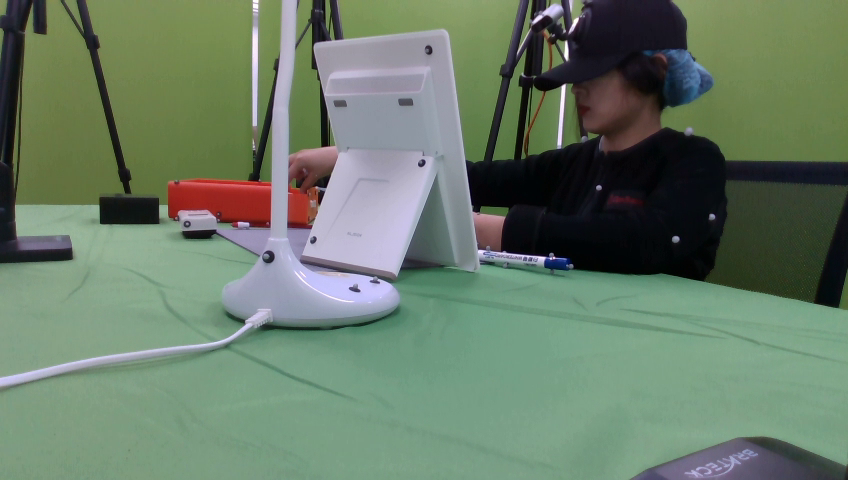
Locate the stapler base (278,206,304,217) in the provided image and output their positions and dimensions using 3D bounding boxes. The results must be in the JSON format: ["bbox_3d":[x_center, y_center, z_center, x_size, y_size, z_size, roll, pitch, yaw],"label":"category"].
[{"bbox_3d":[-0.285,-0.062,1.298,0.041,0.024,0.130,0,0,-4],"label":"stapler base"}]

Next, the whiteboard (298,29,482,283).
[{"bbox_3d":[-0.075,-0.082,0.741,0.216,0.305,0.144,9,29,37],"label":"whiteboard"}]

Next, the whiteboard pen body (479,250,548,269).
[{"bbox_3d":[0.130,0.028,0.827,0.140,0.017,0.017,6,8,39],"label":"whiteboard pen body"}]

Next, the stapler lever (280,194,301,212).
[{"bbox_3d":[-0.286,-0.081,1.299,0.027,0.040,0.118,0,6,-4],"label":"stapler lever"}]

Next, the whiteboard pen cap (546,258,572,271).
[{"bbox_3d":[0.175,0.032,0.790,0.033,0.018,0.018,3,6,37],"label":"whiteboard pen cap"}]

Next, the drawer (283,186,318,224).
[{"bbox_3d":[-0.342,-0.082,1.309,0.212,0.073,0.194,1,8,-4],"label":"drawer"}]

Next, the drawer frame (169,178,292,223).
[{"bbox_3d":[-0.406,-0.087,1.304,0.214,0.082,0.201,1,8,-5],"label":"drawer frame"}]

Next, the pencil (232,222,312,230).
[{"bbox_3d":[-0.261,-0.025,1.141,0.195,0.012,0.012,2,7,-26],"label":"pencil"}]

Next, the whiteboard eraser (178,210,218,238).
[{"bbox_3d":[-0.380,-0.027,1.014,0.056,0.042,0.112,0,8,-25],"label":"whiteboard eraser"}]

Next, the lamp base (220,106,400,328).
[{"bbox_3d":[-0.101,-0.023,0.531,0.160,0.180,0.179,4,10,10],"label":"lamp base"}]
